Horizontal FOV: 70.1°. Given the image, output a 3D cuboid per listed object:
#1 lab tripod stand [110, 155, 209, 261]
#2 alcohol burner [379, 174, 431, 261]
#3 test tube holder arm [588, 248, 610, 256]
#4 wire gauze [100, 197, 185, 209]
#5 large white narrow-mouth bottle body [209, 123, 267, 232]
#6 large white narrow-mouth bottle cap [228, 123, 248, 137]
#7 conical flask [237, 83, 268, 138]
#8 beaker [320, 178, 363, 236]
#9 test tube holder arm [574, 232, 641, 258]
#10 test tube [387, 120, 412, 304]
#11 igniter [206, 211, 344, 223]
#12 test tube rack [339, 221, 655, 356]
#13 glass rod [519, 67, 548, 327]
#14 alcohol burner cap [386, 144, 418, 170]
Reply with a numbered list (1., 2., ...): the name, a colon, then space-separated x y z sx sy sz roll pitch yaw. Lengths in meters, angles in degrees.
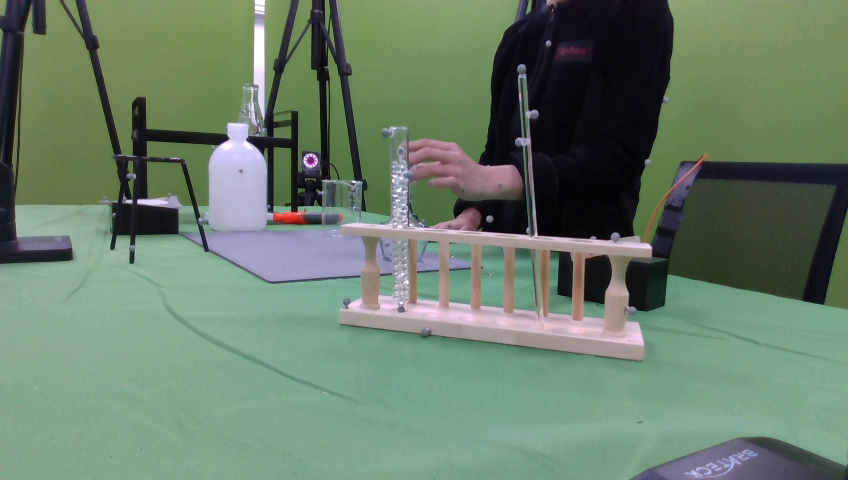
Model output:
1. lab tripod stand: -0.361 -0.046 0.806 0.148 0.131 0.148 2 5 0
2. alcohol burner: -0.027 -0.031 0.838 0.078 0.119 0.078 0 6 0
3. test tube holder arm: 0.180 0.006 0.611 0.010 0.015 0.088 -3 2 36
4. wire gauze: -0.469 -0.062 1.008 0.126 0.011 0.121 -2 8 -25
5. large white narrow-mouth bottle body: -0.340 -0.115 1.109 0.102 0.194 0.102 2 8 0
6. large white narrow-mouth bottle cap: -0.338 -0.199 1.097 0.038 0.024 0.037 2 8 0
7. conical flask: -0.402 -0.299 1.406 0.075 0.122 0.075 2 7 0
8. beaker: -0.145 -0.059 1.079 0.074 0.100 0.083 -4 10 -36
9. test tube holder arm: 0.202 0.003 0.651 0.013 0.015 0.179 -4 2 36
10. test tube: -0.019 -0.021 0.488 0.017 0.150 0.017 -1 13 1
11. igniter: -0.302 -0.048 1.249 0.278 0.025 0.057 -2 -2 -26
12. test tube rack: 0.056 0.032 0.495 0.242 0.085 0.067 4 7 15
13. glass rod: 0.084 -0.029 0.459 0.008 0.199 0.008 -7 11 2
14. alcohol burner cap: -0.027 -0.110 0.814 0.034 0.034 0.048 5 2 21
